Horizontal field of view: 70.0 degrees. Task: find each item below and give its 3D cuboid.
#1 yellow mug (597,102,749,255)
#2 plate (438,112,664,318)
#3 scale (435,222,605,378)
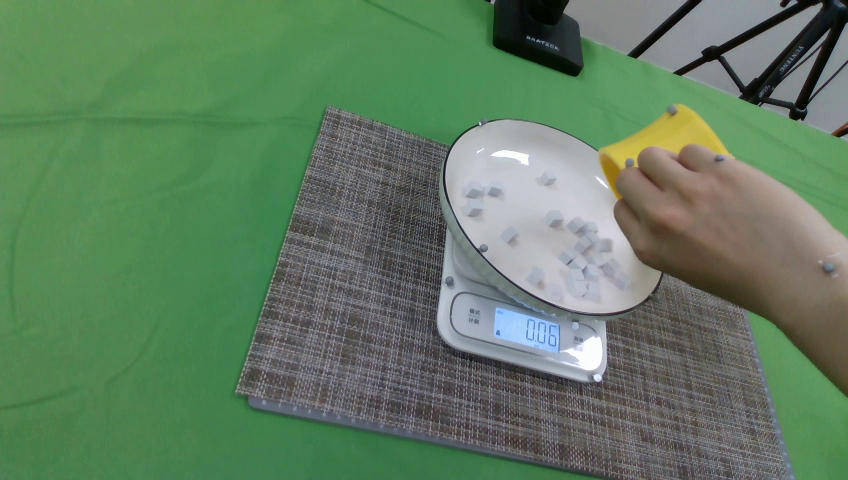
[{"bbox_3d":[0.184,-0.045,0.447,0.100,0.064,0.131,59,8,-1],"label":"yellow mug"},{"bbox_3d":[0.106,-0.022,0.521,0.210,0.038,0.207,12,52,-15],"label":"plate"},{"bbox_3d":[0.089,0.014,0.530,0.149,0.032,0.199,17,51,-11],"label":"scale"}]
